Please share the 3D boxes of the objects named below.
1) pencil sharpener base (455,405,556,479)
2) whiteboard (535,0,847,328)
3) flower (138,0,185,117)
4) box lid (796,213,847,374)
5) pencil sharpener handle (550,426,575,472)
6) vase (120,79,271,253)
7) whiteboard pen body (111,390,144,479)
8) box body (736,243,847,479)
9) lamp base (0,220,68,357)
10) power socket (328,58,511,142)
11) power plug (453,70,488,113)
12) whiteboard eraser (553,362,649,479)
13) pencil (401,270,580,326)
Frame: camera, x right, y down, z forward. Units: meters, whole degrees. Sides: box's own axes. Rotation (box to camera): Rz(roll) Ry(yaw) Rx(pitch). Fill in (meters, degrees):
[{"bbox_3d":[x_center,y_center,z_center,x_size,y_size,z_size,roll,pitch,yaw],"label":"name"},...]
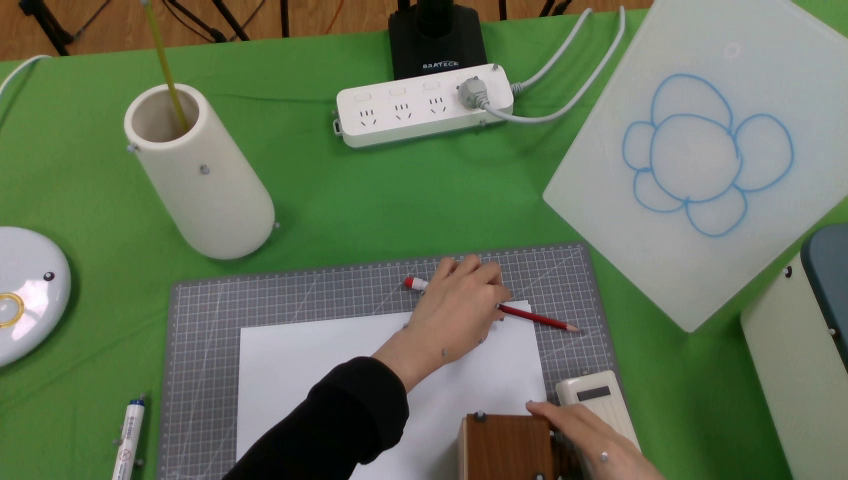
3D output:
[{"bbox_3d":[0.066,0.182,0.520,0.077,0.108,0.061,1,64,0],"label":"pencil sharpener base"},{"bbox_3d":[0.284,-0.100,0.583,0.144,0.307,0.215,-29,66,-34],"label":"whiteboard"},{"bbox_3d":[-0.213,-0.118,0.522,0.038,0.365,0.043,-17,47,-16],"label":"flower"},{"bbox_3d":[0.454,0.132,0.435,0.263,0.015,0.368,-6,64,-4],"label":"box lid"},{"bbox_3d":[0.118,0.174,0.510,0.030,0.068,0.036,1,76,0],"label":"pencil sharpener handle"},{"bbox_3d":[-0.217,-0.065,0.588,0.098,0.201,0.097,0,64,1],"label":"vase"},{"bbox_3d":[-0.277,0.208,0.554,0.017,0.017,0.139,-2,60,-1],"label":"whiteboard pen body"},{"bbox_3d":[0.454,0.167,0.502,0.254,0.161,0.361,-6,65,-3],"label":"box body"},{"bbox_3d":[-0.464,0.012,0.560,0.178,0.181,0.160,24,66,14],"label":"lamp base"},{"bbox_3d":[-0.004,-0.170,0.731,0.227,0.033,0.071,-11,66,-6],"label":"power socket"},{"bbox_3d":[0.053,-0.165,0.703,0.035,0.053,0.072,-2,66,-1],"label":"power plug"},{"bbox_3d":[0.162,0.173,0.561,0.056,0.042,0.111,-11,65,-7],"label":"whiteboard eraser"},{"bbox_3d":[0.068,0.062,0.633,0.194,0.012,0.012,16,65,5],"label":"pencil"}]
